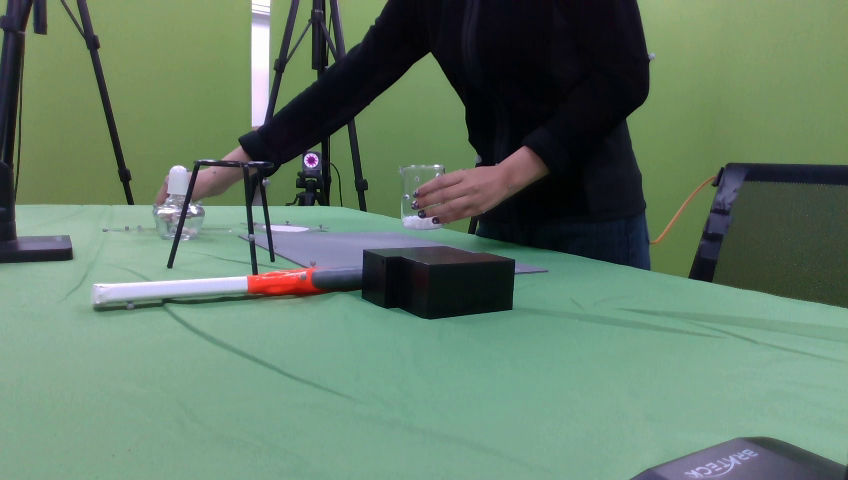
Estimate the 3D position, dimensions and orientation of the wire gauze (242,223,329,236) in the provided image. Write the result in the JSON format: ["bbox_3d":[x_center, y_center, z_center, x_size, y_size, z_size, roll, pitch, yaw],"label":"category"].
[{"bbox_3d":[-0.266,-0.024,1.156,0.124,0.011,0.122,12,12,40],"label":"wire gauze"}]

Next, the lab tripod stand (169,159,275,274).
[{"bbox_3d":[-0.231,-0.030,0.723,0.148,0.131,0.148,2,9,0],"label":"lab tripod stand"}]

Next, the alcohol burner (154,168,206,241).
[{"bbox_3d":[-0.394,-0.059,0.974,0.078,0.119,0.078,0,8,0],"label":"alcohol burner"}]

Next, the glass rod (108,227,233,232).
[{"bbox_3d":[-0.437,-0.019,1.054,0.201,0.008,0.008,-1,8,-27],"label":"glass rod"}]

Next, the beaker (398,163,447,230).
[{"bbox_3d":[-0.003,-0.069,0.946,0.084,0.100,0.073,-8,12,-34],"label":"beaker"}]

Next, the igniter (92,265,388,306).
[{"bbox_3d":[-0.164,0.042,0.589,0.278,0.025,0.057,-2,-6,-31],"label":"igniter"}]

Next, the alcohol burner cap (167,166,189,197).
[{"bbox_3d":[-0.392,-0.095,0.970,0.034,0.048,0.034,8,7,-1],"label":"alcohol burner cap"}]
